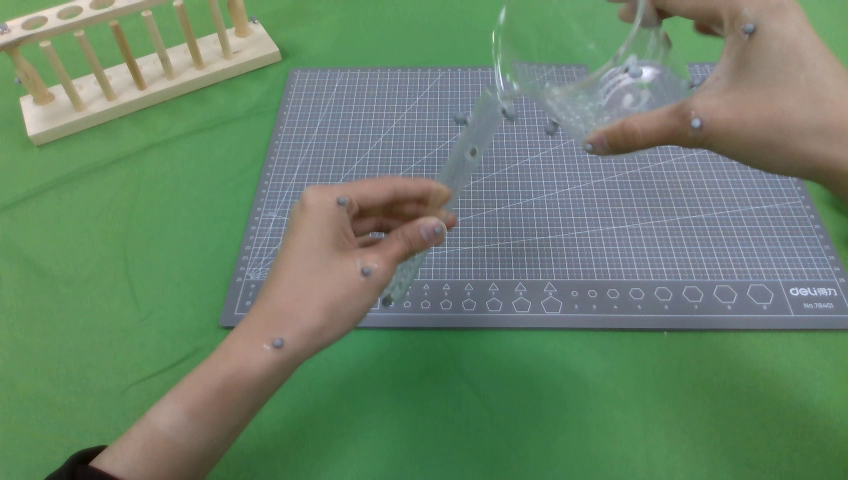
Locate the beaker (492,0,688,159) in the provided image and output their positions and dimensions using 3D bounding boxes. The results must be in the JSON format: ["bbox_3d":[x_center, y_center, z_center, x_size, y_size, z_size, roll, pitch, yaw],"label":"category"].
[{"bbox_3d":[0.089,-0.088,0.316,0.084,0.101,0.073,-44,55,17],"label":"beaker"}]

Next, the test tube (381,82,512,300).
[{"bbox_3d":[0.008,-0.019,0.335,0.017,0.151,0.017,18,36,-14],"label":"test tube"}]

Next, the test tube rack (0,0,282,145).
[{"bbox_3d":[-0.269,-0.183,0.575,0.242,0.086,0.066,-25,55,-16],"label":"test tube rack"}]

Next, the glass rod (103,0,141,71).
[{"bbox_3d":[-0.282,-0.224,0.523,0.008,0.201,0.008,1,54,-1],"label":"glass rod"}]
